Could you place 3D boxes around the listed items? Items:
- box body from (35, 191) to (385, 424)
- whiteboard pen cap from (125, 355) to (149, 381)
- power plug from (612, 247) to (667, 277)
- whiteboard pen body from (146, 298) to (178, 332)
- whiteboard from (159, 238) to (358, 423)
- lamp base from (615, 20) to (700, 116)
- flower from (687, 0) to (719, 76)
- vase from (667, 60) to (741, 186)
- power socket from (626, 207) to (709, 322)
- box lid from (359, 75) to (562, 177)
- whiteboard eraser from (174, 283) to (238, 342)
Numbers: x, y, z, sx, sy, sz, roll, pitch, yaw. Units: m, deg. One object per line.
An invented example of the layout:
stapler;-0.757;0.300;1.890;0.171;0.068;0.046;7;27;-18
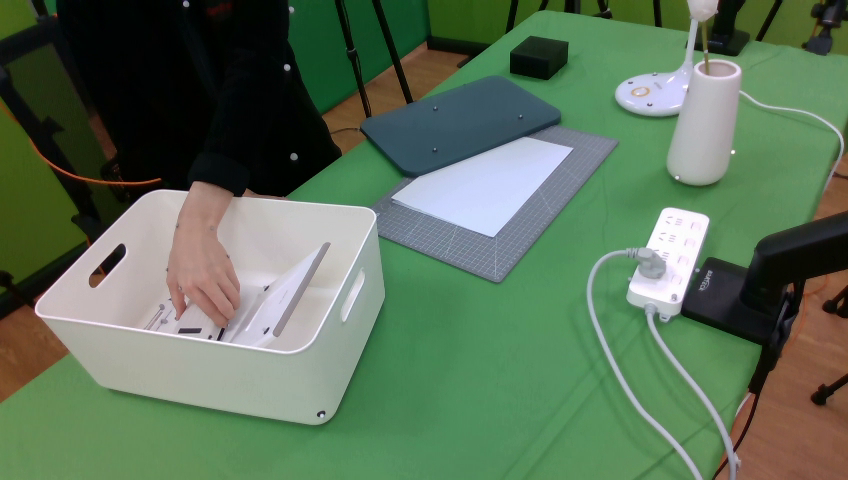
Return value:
box body;-0.254;0.082;0.807;0.363;0.161;0.253;5;42;14
whiteboard pen cap;-0.388;0.174;0.820;0.018;0.018;0.033;7;42;16
power plug;0.306;0.031;0.852;0.072;0.053;0.035;21;48;38
whiteboard pen body;-0.396;0.138;0.869;0.017;0.017;0.140;6;43;15
whiteboard;-0.242;0.093;0.809;0.304;0.144;0.216;5;44;13
lamp base;0.484;-0.364;1.211;0.180;0.181;0.159;-15;41;-14
flower;0.436;-0.242;0.934;0.038;0.364;0.043;-24;49;8
vase;0.463;-0.189;0.994;0.098;0.201;0.097;-4;40;4
power socket;0.360;0.026;0.886;0.072;0.033;0.227;17;46;27
box lid;0.074;-0.249;1.267;0.373;0.015;0.261;-23;42;-18
whiteboard eraser;-0.297;0.108;0.823;0.055;0.042;0.112;1;41;6
